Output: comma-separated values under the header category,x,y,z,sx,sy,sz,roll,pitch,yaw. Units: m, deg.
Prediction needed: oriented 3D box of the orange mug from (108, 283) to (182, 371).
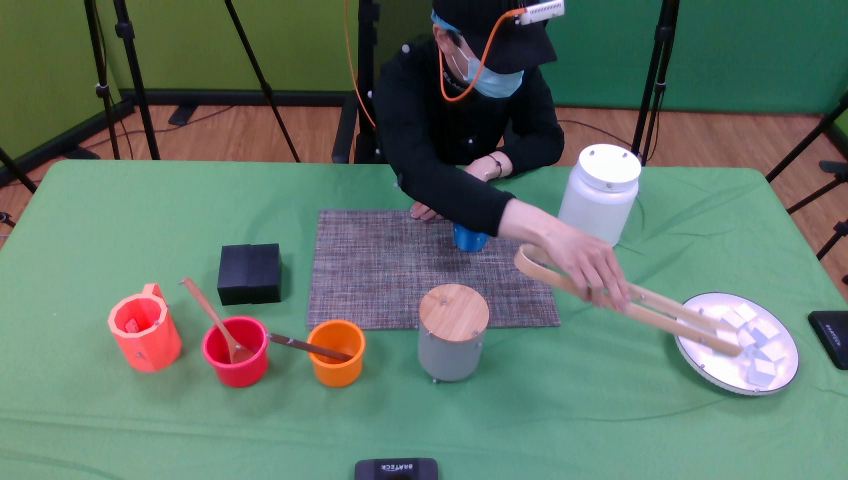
category,x,y,z,sx,sy,sz,roll,pitch,yaw
orange mug,-0.445,0.134,0.982,0.083,0.101,0.125,-1,50,-5

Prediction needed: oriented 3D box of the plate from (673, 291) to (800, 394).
category,x,y,z,sx,sy,sz,roll,pitch,yaw
plate,0.533,0.179,1.050,0.208,0.039,0.206,2,46,-2

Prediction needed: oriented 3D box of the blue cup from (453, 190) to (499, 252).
category,x,y,z,sx,sy,sz,roll,pitch,yaw
blue cup,0.094,-0.032,1.173,0.093,0.101,0.092,3,46,-3

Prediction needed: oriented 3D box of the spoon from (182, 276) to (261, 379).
category,x,y,z,sx,sy,sz,roll,pitch,yaw
spoon,-0.320,0.137,0.957,0.041,0.021,0.194,-37,102,-32

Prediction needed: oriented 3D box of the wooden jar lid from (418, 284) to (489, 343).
category,x,y,z,sx,sy,sz,roll,pitch,yaw
wooden jar lid,0.045,0.114,0.931,0.108,0.021,0.107,2,49,-2

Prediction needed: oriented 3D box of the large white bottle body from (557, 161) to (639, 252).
category,x,y,z,sx,sy,sz,roll,pitch,yaw
large white bottle body,0.340,-0.080,1.185,0.131,0.185,0.130,2,46,-1

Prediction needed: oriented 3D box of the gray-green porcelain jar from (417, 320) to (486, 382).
category,x,y,z,sx,sy,sz,roll,pitch,yaw
gray-green porcelain jar,0.042,0.158,0.975,0.106,0.127,0.105,2,46,-2

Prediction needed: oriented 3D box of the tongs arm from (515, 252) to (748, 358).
category,x,y,z,sx,sy,sz,roll,pitch,yaw
tongs arm,0.325,0.107,0.952,0.388,0.028,0.028,22,36,-2

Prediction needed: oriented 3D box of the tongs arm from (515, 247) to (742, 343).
category,x,y,z,sx,sy,sz,roll,pitch,yaw
tongs arm,0.329,0.095,0.971,0.385,0.026,0.050,24,33,2

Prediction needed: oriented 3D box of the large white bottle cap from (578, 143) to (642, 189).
category,x,y,z,sx,sy,sz,roll,pitch,yaw
large white bottle cap,0.345,-0.139,1.123,0.115,0.018,0.114,2,47,-2

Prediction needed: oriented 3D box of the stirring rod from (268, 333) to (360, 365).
category,x,y,z,sx,sy,sz,roll,pitch,yaw
stirring rod,-0.167,0.170,0.941,0.177,0.006,0.014,26,26,-40
